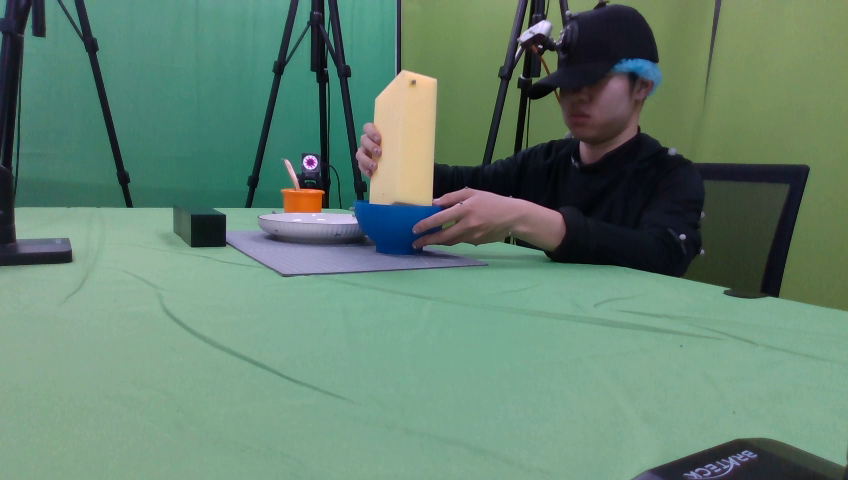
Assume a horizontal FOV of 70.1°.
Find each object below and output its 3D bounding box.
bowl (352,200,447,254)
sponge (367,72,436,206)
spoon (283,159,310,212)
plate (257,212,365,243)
[{"bbox_3d":[-0.040,-0.021,0.948,0.151,0.077,0.151,3,6,0],"label":"bowl"},{"bbox_3d":[-0.037,-0.142,0.956,0.061,0.206,0.118,7,-11,-25],"label":"sponge"},{"bbox_3d":[-0.279,-0.111,1.324,0.042,0.193,0.021,3,-39,-35],"label":"spoon"},{"bbox_3d":[-0.189,-0.023,1.072,0.209,0.038,0.209,3,7,0],"label":"plate"}]
